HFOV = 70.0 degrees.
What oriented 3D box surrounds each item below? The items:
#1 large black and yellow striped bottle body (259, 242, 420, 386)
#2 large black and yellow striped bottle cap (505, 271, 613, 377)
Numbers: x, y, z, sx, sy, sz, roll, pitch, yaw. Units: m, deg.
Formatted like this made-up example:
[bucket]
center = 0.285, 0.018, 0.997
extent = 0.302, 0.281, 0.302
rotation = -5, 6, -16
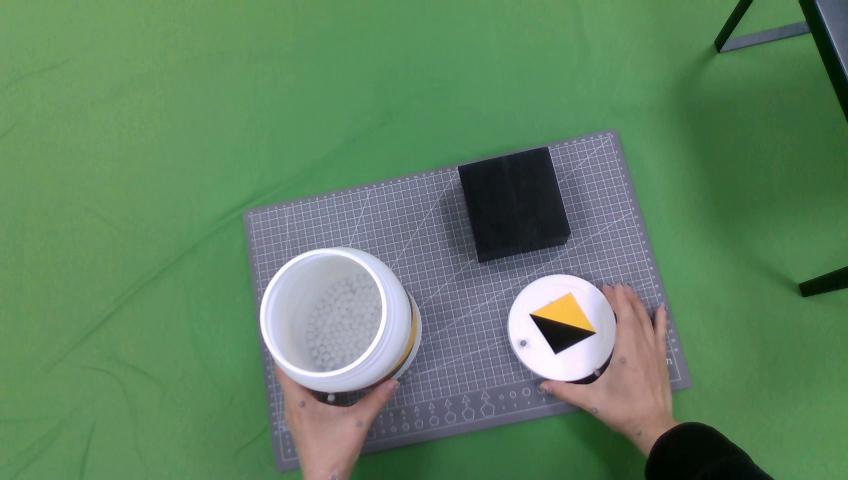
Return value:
[large black and yellow striped bottle body]
center = -0.077, 0.076, 0.589
extent = 0.130, 0.185, 0.130
rotation = -1, 77, 5
[large black and yellow striped bottle cap]
center = 0.145, 0.090, 0.653
extent = 0.115, 0.019, 0.114
rotation = -1, 76, 4
